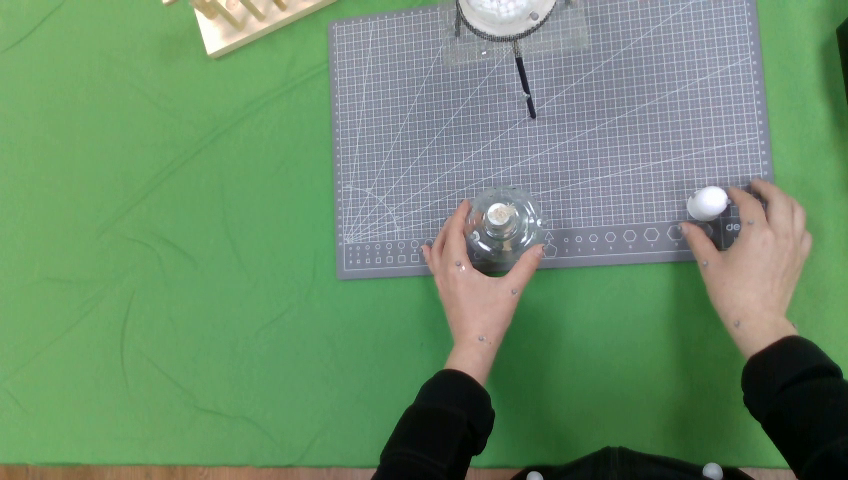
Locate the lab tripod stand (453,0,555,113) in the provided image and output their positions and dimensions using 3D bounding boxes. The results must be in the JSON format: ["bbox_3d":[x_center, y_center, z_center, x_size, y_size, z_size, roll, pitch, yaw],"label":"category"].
[{"bbox_3d":[0.086,-0.210,0.584,0.148,0.132,0.148,-1,86,12],"label":"lab tripod stand"}]

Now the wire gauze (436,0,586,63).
[{"bbox_3d":[0.071,-0.216,0.521,0.125,0.011,0.121,-4,88,10],"label":"wire gauze"}]

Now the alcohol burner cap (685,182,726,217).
[{"bbox_3d":[0.269,-0.041,0.576,0.034,0.048,0.034,-1,85,14],"label":"alcohol burner cap"}]

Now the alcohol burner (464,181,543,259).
[{"bbox_3d":[0.075,-0.021,0.583,0.078,0.119,0.077,-1,84,12],"label":"alcohol burner"}]

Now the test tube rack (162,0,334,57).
[{"bbox_3d":[-0.165,-0.298,0.677,0.242,0.085,0.066,-21,81,11],"label":"test tube rack"}]

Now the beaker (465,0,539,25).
[{"bbox_3d":[0.055,-0.221,0.475,0.083,0.100,0.074,10,88,14],"label":"beaker"}]
